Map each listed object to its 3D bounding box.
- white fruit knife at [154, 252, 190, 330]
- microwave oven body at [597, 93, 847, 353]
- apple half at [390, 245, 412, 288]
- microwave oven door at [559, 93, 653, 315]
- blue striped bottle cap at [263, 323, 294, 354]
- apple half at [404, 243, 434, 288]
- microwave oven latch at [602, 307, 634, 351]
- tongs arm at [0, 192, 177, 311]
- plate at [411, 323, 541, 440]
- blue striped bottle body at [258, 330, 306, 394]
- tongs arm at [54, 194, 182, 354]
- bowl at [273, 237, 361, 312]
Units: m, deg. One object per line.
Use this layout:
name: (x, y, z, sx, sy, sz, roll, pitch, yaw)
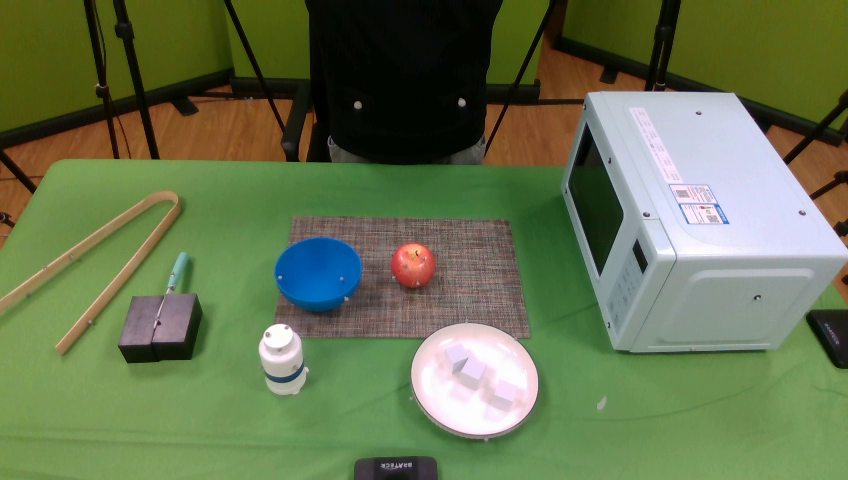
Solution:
white fruit knife: (-0.438, 0.083, 1.053, 0.016, 0.027, 0.206, -2, 35, -5)
microwave oven body: (0.476, -0.042, 1.110, 0.326, 0.261, 0.438, -1, 45, -4)
apple half: (-0.046, 0.053, 1.105, 0.033, 0.081, 0.080, -8, 47, -15)
microwave oven door: (0.327, -0.074, 1.123, 0.039, 0.245, 0.353, -1, 46, -5)
blue striped bottle cap: (-0.217, 0.146, 0.900, 0.044, 0.021, 0.044, 1, 46, -1)
apple half: (-0.009, 0.047, 1.115, 0.053, 0.075, 0.080, -7, 44, -16)
microwave oven latch: (0.332, 0.153, 1.044, 0.030, 0.029, 0.078, -1, 45, -4)
tongs arm: (-0.618, 0.019, 1.124, 0.050, 0.026, 0.384, 24, 47, 17)
plate: (0.082, 0.228, 0.976, 0.208, 0.039, 0.206, 2, 45, -2)
blue striped bottle body: (-0.220, 0.182, 0.937, 0.063, 0.121, 0.062, 2, 46, -2)
tongs arm: (-0.543, 0.048, 1.107, 0.028, 0.028, 0.385, 11, 45, 10)
bowl: (-0.186, 0.075, 1.070, 0.151, 0.077, 0.150, 3, 46, -3)
